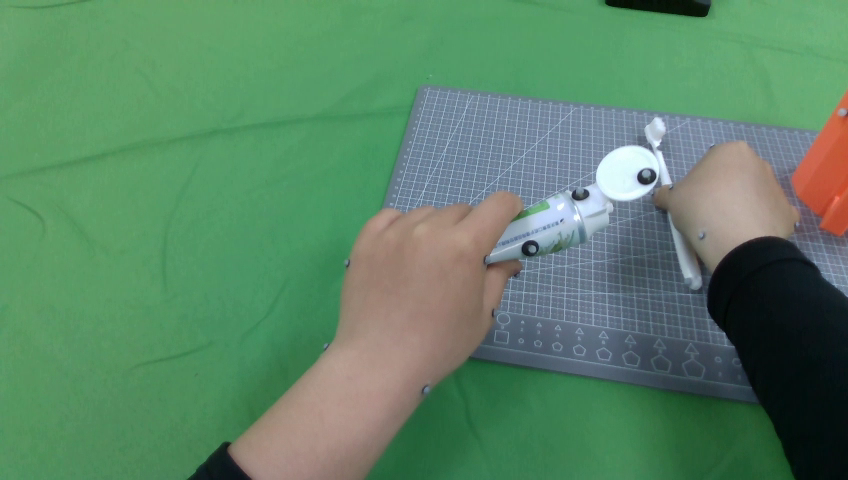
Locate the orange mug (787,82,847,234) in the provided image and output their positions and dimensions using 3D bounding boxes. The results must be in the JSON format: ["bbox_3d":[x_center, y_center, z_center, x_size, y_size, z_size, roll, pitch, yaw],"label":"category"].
[{"bbox_3d":[0.346,-0.063,0.472,0.083,0.101,0.126,31,52,23],"label":"orange mug"}]

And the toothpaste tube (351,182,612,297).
[{"bbox_3d":[0.036,0.005,0.372,0.165,0.055,0.034,-21,79,4],"label":"toothpaste tube"}]

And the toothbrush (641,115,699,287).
[{"bbox_3d":[0.202,-0.039,0.497,0.014,0.017,0.180,16,51,-15],"label":"toothbrush"}]

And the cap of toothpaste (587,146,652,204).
[{"bbox_3d":[0.113,-0.037,0.349,0.037,0.011,0.037,-14,61,26],"label":"cap of toothpaste"}]
